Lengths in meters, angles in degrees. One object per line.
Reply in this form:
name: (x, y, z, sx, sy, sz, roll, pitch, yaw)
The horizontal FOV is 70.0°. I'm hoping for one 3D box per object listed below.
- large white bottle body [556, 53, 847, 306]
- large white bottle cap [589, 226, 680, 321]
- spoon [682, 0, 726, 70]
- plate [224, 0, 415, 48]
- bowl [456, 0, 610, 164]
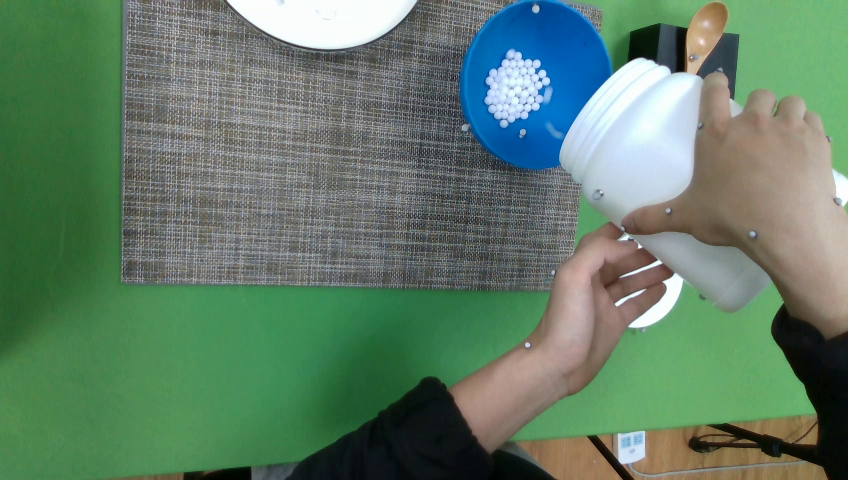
large white bottle body: (0.210, -0.053, 0.482, 0.130, 0.131, 0.183, -43, 69, -7)
large white bottle cap: (0.244, 0.037, 0.697, 0.115, 0.017, 0.115, -3, 101, -18)
spoon: (0.259, -0.151, 0.621, 0.042, 0.021, 0.194, 15, 99, -22)
plate: (-0.095, -0.269, 0.521, 0.210, 0.038, 0.209, -2, 97, -18)
bowl: (0.092, -0.149, 0.580, 0.152, 0.076, 0.151, -3, 100, -17)
